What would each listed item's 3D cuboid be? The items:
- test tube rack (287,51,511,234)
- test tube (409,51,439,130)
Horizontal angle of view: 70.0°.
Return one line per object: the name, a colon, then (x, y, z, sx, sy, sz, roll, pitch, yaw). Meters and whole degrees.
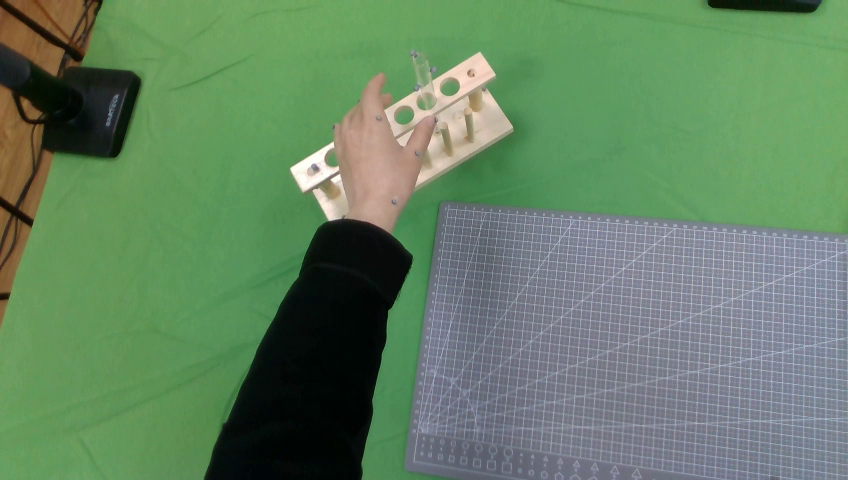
test tube rack: (-0.023, -0.105, 0.686, 0.242, 0.086, 0.066, -31, 73, 1)
test tube: (0.002, -0.154, 0.643, 0.017, 0.151, 0.017, -2, 75, 7)
